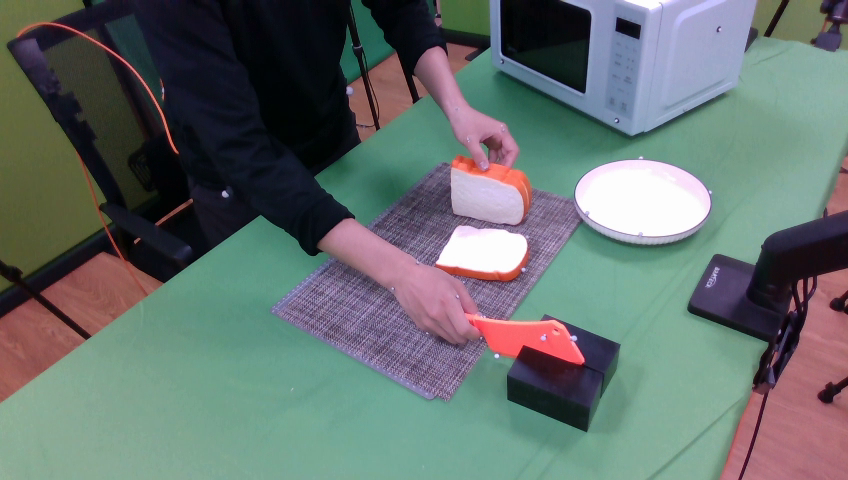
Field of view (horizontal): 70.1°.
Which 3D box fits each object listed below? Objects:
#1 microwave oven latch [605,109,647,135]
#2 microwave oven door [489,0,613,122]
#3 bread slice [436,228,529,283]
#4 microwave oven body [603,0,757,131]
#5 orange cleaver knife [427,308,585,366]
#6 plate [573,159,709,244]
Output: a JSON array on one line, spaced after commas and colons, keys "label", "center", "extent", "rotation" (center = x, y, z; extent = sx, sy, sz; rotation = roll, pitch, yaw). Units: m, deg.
[{"label": "microwave oven latch", "center": [0.379, -0.225, 1.139], "extent": [0.030, 0.029, 0.078], "rotation": [-26, 43, -19]}, {"label": "microwave oven door", "center": [0.250, -0.412, 1.219], "extent": [0.039, 0.245, 0.352], "rotation": [-27, 44, -21]}, {"label": "bread slice", "center": [0.093, 0.025, 0.929], "extent": [0.133, 0.018, 0.107], "rotation": [7, 47, 30]}, {"label": "microwave oven body", "center": [0.396, -0.448, 1.248], "extent": [0.327, 0.261, 0.437], "rotation": [-27, 44, -21]}, {"label": "orange cleaver knife", "center": [0.097, 0.121, 0.758], "extent": [0.209, 0.077, 0.012], "rotation": [4, 39, 37]}, {"label": "plate", "center": [0.347, -0.059, 0.978], "extent": [0.207, 0.039, 0.206], "rotation": [-4, 41, 4]}]
